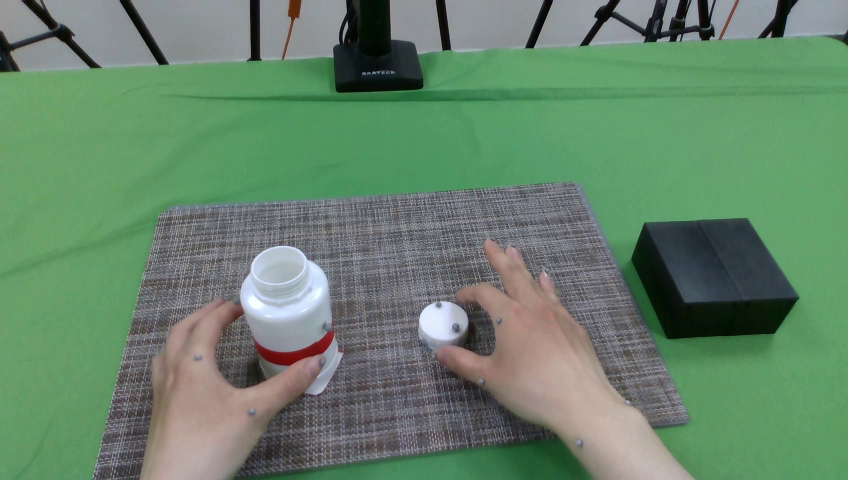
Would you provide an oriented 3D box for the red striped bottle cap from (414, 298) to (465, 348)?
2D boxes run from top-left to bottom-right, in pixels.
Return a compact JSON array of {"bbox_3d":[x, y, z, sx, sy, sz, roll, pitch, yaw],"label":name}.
[{"bbox_3d":[0.013,0.071,0.526,0.044,0.018,0.044,4,43,-4],"label":"red striped bottle cap"}]

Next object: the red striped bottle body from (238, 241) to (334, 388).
[{"bbox_3d":[-0.104,0.056,0.463,0.063,0.121,0.062,2,45,-1],"label":"red striped bottle body"}]
